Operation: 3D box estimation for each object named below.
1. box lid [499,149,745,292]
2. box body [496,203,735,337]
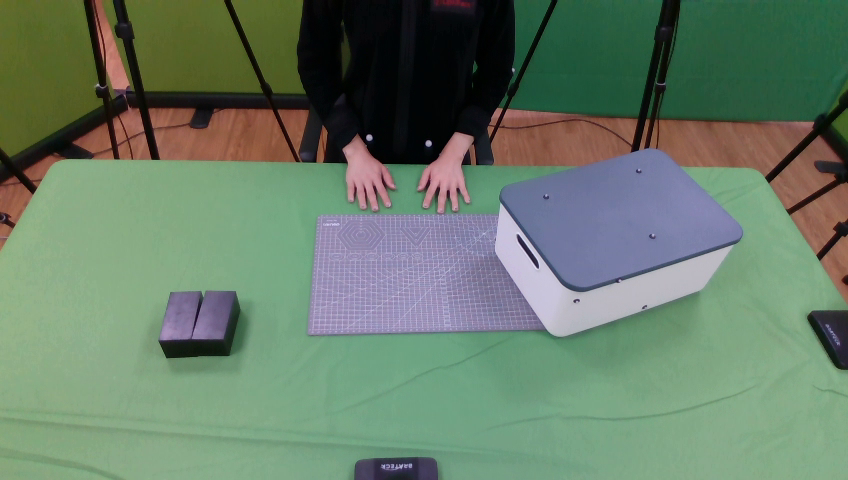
[{"bbox_3d":[0.341,-0.048,1.064,0.372,0.015,0.261,-15,49,-18],"label":"box lid"},{"bbox_3d":[0.340,0.003,1.118,0.364,0.161,0.252,-15,49,-18],"label":"box body"}]
